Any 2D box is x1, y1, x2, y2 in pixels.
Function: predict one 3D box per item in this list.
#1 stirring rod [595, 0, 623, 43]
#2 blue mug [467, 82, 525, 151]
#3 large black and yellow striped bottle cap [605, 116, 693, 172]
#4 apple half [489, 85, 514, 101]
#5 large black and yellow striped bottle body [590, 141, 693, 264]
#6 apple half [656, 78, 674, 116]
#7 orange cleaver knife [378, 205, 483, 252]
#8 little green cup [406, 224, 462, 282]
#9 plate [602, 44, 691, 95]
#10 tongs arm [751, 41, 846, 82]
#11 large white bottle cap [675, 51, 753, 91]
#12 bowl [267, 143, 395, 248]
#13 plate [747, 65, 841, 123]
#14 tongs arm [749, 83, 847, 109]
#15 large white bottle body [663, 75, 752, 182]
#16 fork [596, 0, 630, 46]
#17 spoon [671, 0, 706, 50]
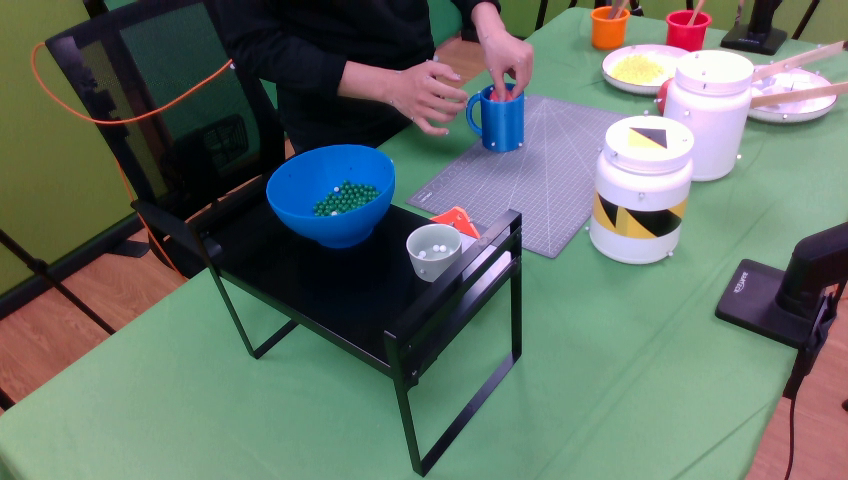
[{"bbox_3d":[0.460,-0.556,1.460,0.014,0.006,0.176,30,93,23],"label":"stirring rod"},{"bbox_3d":[0.138,-0.241,1.169,0.116,0.106,0.082,11,44,21],"label":"blue mug"},{"bbox_3d":[0.309,-0.134,0.833,0.115,0.019,0.114,-5,40,5],"label":"large black and yellow striped bottle cap"},{"bbox_3d":[0.142,-0.251,1.147,0.033,0.081,0.080,-13,40,-19],"label":"apple half"},{"bbox_3d":[0.317,-0.071,0.889,0.131,0.185,0.130,-4,41,4],"label":"large black and yellow striped bottle body"},{"bbox_3d":[0.488,-0.281,1.192,0.053,0.075,0.081,24,54,37],"label":"apple half"},{"bbox_3d":[0.005,-0.010,0.944,0.210,0.077,0.012,-5,23,47],"label":"orange cleaver knife"},{"bbox_3d":[0.012,0.015,0.668,0.061,0.039,0.061,-4,40,4],"label":"little green cup"},{"bbox_3d":[0.495,-0.367,1.317,0.209,0.038,0.208,-4,40,4],"label":"plate"},{"bbox_3d":[0.708,-0.331,1.194,0.386,0.026,0.050,-18,45,-16],"label":"tongs arm"},{"bbox_3d":[0.463,-0.271,0.967,0.115,0.018,0.114,-4,40,3],"label":"large white bottle cap"},{"bbox_3d":[-0.104,-0.043,0.726,0.151,0.077,0.150,-4,41,4],"label":"bowl"},{"bbox_3d":[0.694,-0.283,1.189,0.207,0.039,0.206,-4,40,4],"label":"plate"},{"bbox_3d":[0.734,-0.280,1.133,0.388,0.028,0.028,-9,47,-5],"label":"tongs arm"},{"bbox_3d":[0.472,-0.207,1.022,0.130,0.185,0.130,-4,41,4],"label":"large white bottle body"},{"bbox_3d":[0.481,-0.556,1.452,0.028,0.019,0.207,40,103,40],"label":"fork"},{"bbox_3d":[0.628,-0.520,1.394,0.041,0.022,0.193,30,96,34],"label":"spoon"}]
